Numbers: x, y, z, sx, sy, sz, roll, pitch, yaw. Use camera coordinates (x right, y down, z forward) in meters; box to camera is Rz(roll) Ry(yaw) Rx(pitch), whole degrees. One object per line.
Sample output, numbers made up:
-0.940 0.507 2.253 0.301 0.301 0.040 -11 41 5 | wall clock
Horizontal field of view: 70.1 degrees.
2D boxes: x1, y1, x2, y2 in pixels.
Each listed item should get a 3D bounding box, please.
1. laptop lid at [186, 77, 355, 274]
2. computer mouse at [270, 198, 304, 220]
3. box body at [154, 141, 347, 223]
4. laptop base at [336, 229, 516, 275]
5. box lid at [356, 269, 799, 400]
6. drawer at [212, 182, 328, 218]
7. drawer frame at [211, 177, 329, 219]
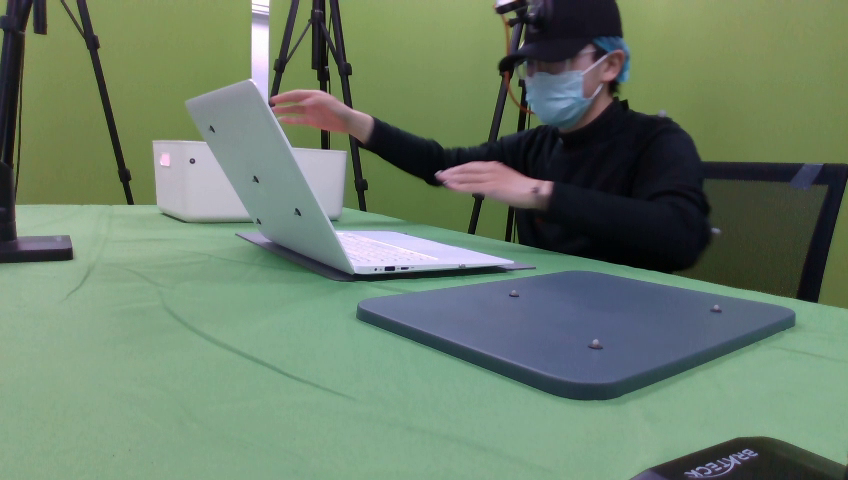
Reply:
-0.211 -0.081 0.772 0.013 0.242 0.355 -35 25 -23 | laptop lid
-0.318 -0.074 1.403 0.063 0.041 0.116 4 13 -24 | computer mouse
-0.383 -0.132 1.346 0.366 0.160 0.253 -3 9 -36 | box body
-0.065 0.014 0.877 0.237 0.023 0.352 2 7 -32 | laptop base
0.152 0.068 0.565 0.374 0.015 0.262 -4 10 -41 | box lid
-0.348 -0.092 1.367 0.213 0.073 0.193 -6 9 -31 | drawer
-0.349 -0.099 1.365 0.215 0.082 0.200 -3 9 -32 | drawer frame
